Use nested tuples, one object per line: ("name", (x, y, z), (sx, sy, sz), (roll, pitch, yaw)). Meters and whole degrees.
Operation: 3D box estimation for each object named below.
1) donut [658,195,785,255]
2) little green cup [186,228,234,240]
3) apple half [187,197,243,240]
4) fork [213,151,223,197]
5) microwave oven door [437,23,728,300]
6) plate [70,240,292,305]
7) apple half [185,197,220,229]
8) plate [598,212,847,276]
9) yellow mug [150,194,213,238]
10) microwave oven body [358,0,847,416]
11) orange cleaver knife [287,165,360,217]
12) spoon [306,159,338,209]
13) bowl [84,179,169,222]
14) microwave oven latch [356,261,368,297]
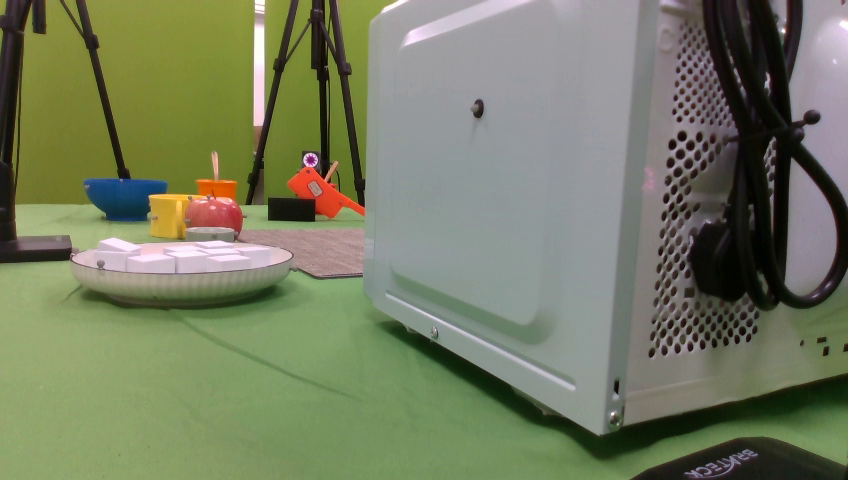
("donut", (0.252, -0.012, 0.517), (0.099, 0.048, 0.099), (4, 8, 0))
("little green cup", (-0.284, 0.005, 0.805), (0.061, 0.038, 0.061), (2, 8, 0))
("apple half", (-0.305, -0.026, 0.907), (0.053, 0.074, 0.081), (12, 8, 31))
("fork", (-0.494, -0.143, 1.442), (0.028, 0.018, 0.206), (-2, 52, -20))
("microwave oven door", (0.180, -0.072, 0.621), (0.358, 0.243, 0.039), (-2, 8, -29))
("plate", (-0.242, 0.031, 0.618), (0.208, 0.039, 0.207), (2, 8, 0))
("apple half", (-0.338, -0.031, 0.927), (0.032, 0.081, 0.081), (12, 12, 31))
("plate", (0.255, 0.001, 0.518), (0.209, 0.038, 0.209), (2, 6, 0))
("yellow mug", (-0.401, -0.040, 1.003), (0.100, 0.064, 0.130), (-1, 9, -20))
("microwave oven body", (0.211, -0.047, 0.475), (0.444, 0.260, 0.324), (-1, 8, -28))
("orange cleaver knife", (-0.211, -0.093, 1.382), (0.212, 0.077, 0.012), (33, 1, -15))
("spoon", (-0.257, -0.147, 1.567), (0.041, 0.022, 0.193), (1, 51, 20))
("bowl", (-0.584, -0.078, 1.194), (0.151, 0.077, 0.151), (3, 8, 0))
("microwave oven latch", (-0.020, 0.033, 0.531), (0.079, 0.029, 0.030), (-1, 7, -27))
